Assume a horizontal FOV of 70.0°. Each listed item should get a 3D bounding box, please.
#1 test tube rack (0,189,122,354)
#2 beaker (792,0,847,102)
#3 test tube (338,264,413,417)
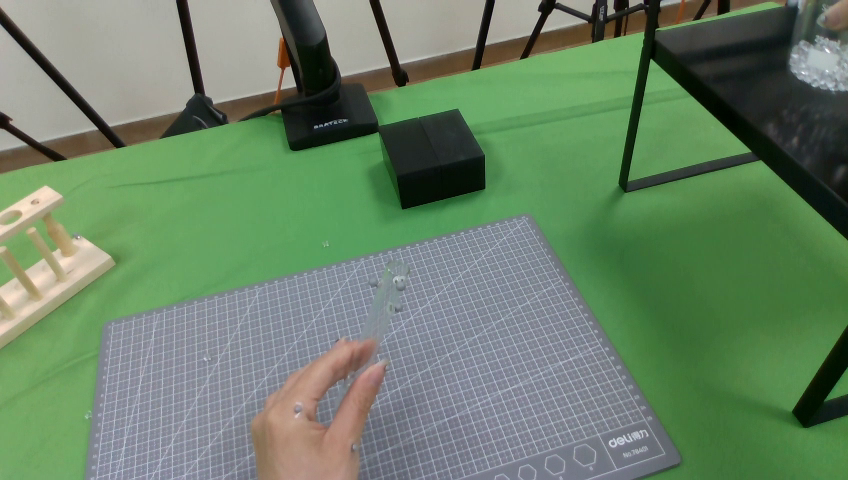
[{"bbox_3d":[-0.432,0.059,0.584,0.066,0.086,0.242,25,53,29],"label":"test tube rack"},{"bbox_3d":[0.301,-0.155,0.418,0.083,0.101,0.074,23,55,34],"label":"beaker"},{"bbox_3d":[-0.037,0.076,0.421,0.017,0.151,0.017,15,36,-11],"label":"test tube"}]
